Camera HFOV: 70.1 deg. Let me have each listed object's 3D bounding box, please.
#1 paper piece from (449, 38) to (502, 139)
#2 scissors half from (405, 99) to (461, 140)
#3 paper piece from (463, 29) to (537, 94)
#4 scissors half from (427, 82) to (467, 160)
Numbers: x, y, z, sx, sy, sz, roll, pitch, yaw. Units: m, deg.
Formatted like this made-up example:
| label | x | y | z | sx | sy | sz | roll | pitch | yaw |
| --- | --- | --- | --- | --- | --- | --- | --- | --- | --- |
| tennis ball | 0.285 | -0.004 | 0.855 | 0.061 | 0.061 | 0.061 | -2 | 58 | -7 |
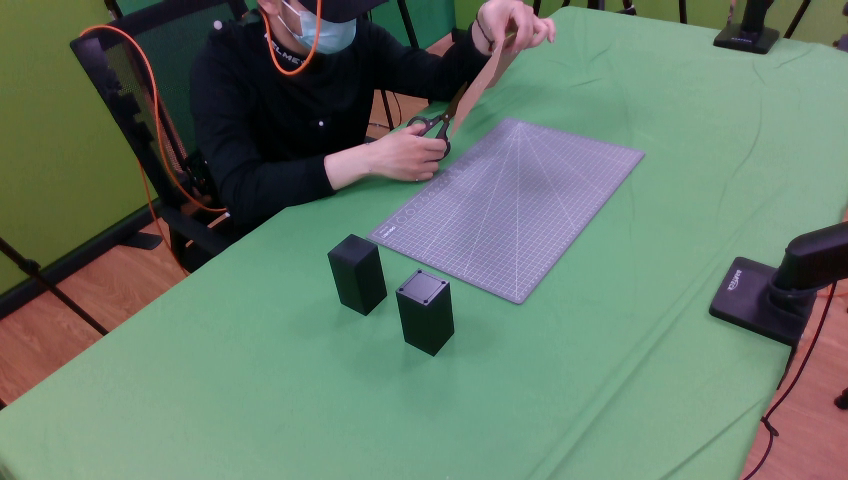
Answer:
| label | x | y | z | sx | sy | sz | roll | pitch | yaw |
| --- | --- | --- | --- | --- | --- | --- | --- | --- | --- |
| paper piece | 0.081 | -0.242 | 0.961 | 0.004 | 0.135 | 0.135 | 28 | 43 | -10 |
| scissors half | 0.027 | -0.226 | 1.081 | 0.174 | 0.040 | 0.013 | -22 | 25 | 39 |
| paper piece | 0.128 | -0.311 | 1.062 | 0.008 | 0.135 | 0.139 | 51 | 41 | 6 |
| scissors half | 0.045 | -0.211 | 1.083 | 0.040 | 0.175 | 0.013 | 30 | 44 | 8 |
